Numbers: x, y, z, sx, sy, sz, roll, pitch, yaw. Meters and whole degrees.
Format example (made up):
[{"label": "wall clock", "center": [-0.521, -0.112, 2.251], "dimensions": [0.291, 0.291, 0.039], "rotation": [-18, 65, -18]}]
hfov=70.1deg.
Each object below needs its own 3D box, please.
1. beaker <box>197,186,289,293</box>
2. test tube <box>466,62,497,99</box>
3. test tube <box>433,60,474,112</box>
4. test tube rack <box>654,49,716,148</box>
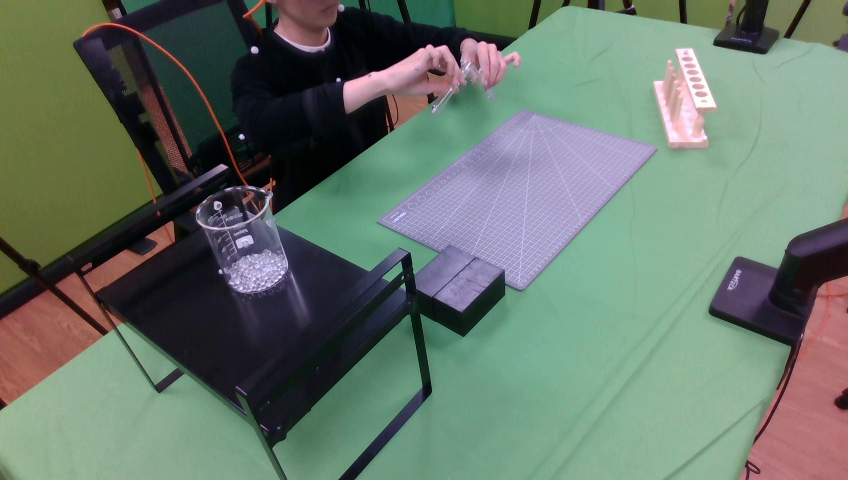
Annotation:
[{"label": "beaker", "center": [-0.192, 0.001, 0.666], "dimensions": [0.084, 0.101, 0.073], "rotation": [-32, 47, -27]}, {"label": "test tube", "center": [0.106, -0.286, 1.090], "dimensions": [0.017, 0.151, 0.017], "rotation": [-3, 82, 22]}, {"label": "test tube", "center": [0.048, -0.248, 0.973], "dimensions": [0.017, 0.017, 0.150], "rotation": [12, 46, 21]}, {"label": "test tube rack", "center": [0.502, -0.281, 1.176], "dimensions": [0.066, 0.085, 0.241], "rotation": [1, 41, 11]}]
